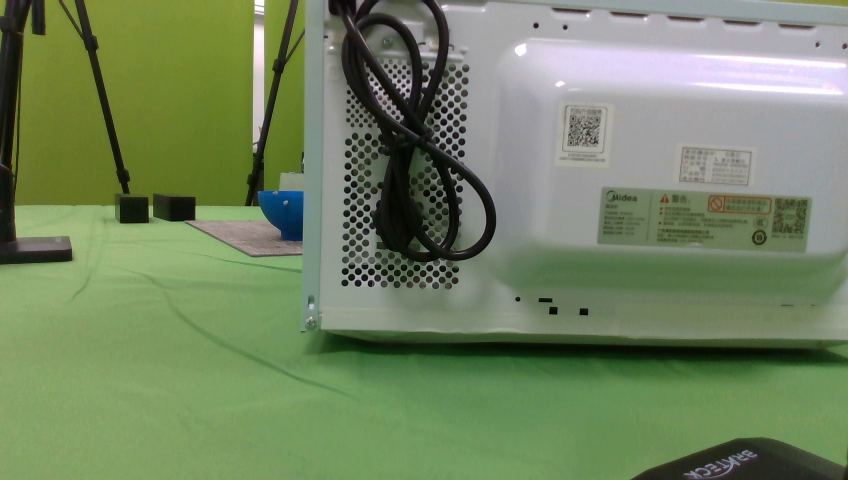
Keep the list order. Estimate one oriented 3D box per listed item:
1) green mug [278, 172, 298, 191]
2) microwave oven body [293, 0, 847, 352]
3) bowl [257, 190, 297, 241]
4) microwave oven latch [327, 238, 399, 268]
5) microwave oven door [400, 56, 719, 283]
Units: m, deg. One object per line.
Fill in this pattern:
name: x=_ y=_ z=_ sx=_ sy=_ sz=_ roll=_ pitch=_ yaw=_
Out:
green mug: x=-0.250 y=-0.089 z=1.279 sx=0.092 sy=0.105 sz=0.126 roll=9 pitch=9 yaw=40
microwave oven body: x=0.122 y=-0.055 z=0.550 sx=0.442 sy=0.260 sz=0.325 roll=3 pitch=7 yaw=-5
bowl: x=-0.206 y=-0.041 z=1.027 sx=0.151 sy=0.077 sz=0.151 roll=3 pitch=8 yaw=0
microwave oven latch: x=-0.069 y=0.015 z=0.694 sx=0.079 sy=0.029 sz=0.030 roll=3 pitch=7 yaw=-3
microwave oven door: x=0.155 y=-0.077 z=0.697 sx=0.356 sy=0.243 sz=0.039 roll=2 pitch=8 yaw=-5
